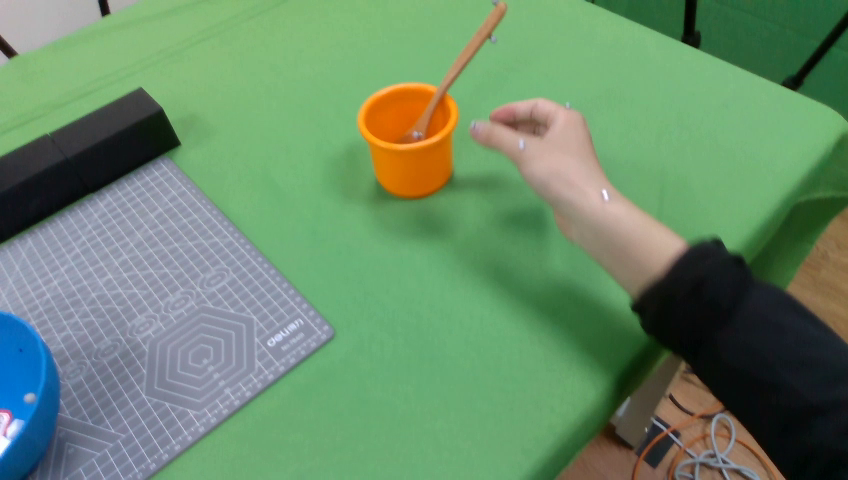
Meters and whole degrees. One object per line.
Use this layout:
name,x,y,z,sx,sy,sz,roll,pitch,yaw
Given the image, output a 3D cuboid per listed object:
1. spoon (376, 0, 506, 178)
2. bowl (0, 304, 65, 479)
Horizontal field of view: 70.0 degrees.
spoon,0.015,-0.137,0.555,0.022,0.194,0.041,6,35,-51
bowl,-0.316,0.127,0.421,0.151,0.077,0.150,-2,53,3
